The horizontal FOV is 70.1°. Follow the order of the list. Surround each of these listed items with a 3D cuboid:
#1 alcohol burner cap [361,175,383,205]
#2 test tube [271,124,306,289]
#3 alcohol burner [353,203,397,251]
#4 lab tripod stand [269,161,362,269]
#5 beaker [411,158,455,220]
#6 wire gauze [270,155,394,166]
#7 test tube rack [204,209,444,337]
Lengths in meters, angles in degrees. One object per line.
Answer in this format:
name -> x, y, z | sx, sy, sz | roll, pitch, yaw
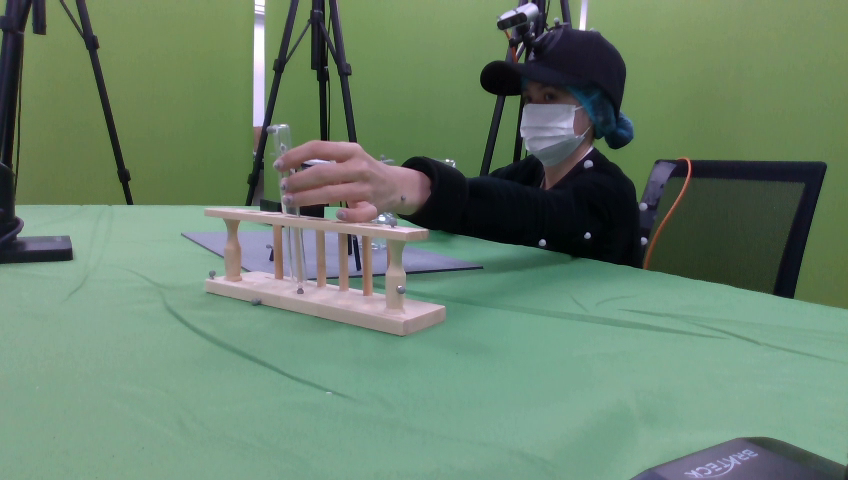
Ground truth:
alcohol burner cap -> -0.080, -0.078, 0.945 | 0.034, 0.048, 0.034 | 5, 7, 0
test tube -> -0.123, -0.030, 0.552 | 0.017, 0.150, 0.017 | -6, 6, 1
alcohol burner -> -0.082, -0.043, 0.950 | 0.078, 0.119, 0.078 | 1, 8, 0
lab tripod stand -> -0.125, -0.036, 0.794 | 0.148, 0.131, 0.148 | 5, 7, 0
beaker -> 0.017, -0.088, 1.051 | 0.083, 0.100, 0.074 | 13, 18, 39
wire gauze -> -0.121, -0.102, 0.785 | 0.122, 0.011, 0.124 | -3, 10, -38
test tube rack -> -0.100, 0.021, 0.565 | 0.241, 0.085, 0.067 | 7, 9, 32
